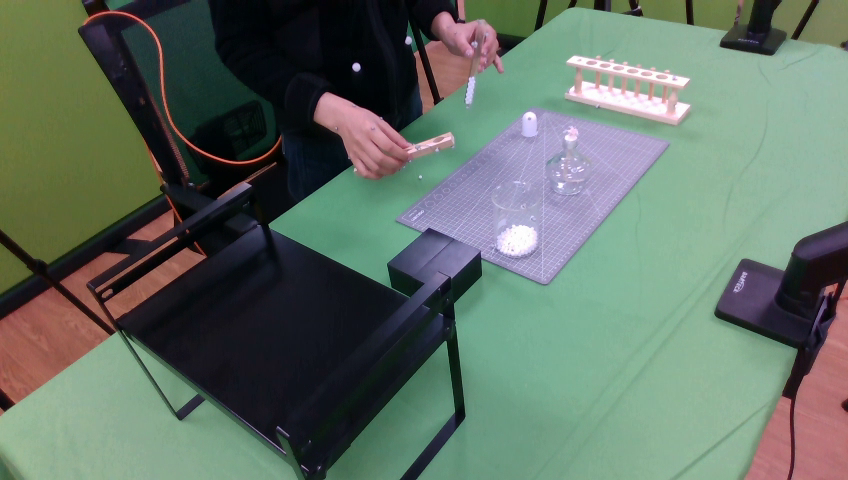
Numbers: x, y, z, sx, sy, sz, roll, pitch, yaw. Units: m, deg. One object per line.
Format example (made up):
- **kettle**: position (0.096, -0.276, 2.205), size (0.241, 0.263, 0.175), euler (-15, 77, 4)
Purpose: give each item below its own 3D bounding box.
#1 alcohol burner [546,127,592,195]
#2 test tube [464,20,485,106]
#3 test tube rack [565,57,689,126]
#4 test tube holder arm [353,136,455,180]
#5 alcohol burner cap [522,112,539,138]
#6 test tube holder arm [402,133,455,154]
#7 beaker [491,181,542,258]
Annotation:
- **alcohol burner**: position (0.246, -0.137, 1.024), size (0.078, 0.119, 0.077), euler (-4, 38, 4)
- **test tube**: position (0.089, -0.311, 1.071), size (0.017, 0.150, 0.017), euler (6, 32, -3)
- **test tube rack**: position (0.412, -0.311, 1.230), size (0.240, 0.085, 0.067), euler (24, 49, 32)
- **test tube holder arm**: position (-0.035, -0.129, 0.953), size (0.178, 0.015, 0.013), euler (-18, 40, 21)
- **alcohol burner cap**: position (0.210, -0.230, 1.195), size (0.034, 0.048, 0.033), euler (-5, 41, 5)
- **test tube holder arm**: position (0.006, -0.145, 0.940), size (0.087, 0.015, 0.010), euler (-17, 40, 22)
- **beaker**: position (0.144, -0.030, 0.925), size (0.073, 0.100, 0.084), euler (23, 48, 31)
